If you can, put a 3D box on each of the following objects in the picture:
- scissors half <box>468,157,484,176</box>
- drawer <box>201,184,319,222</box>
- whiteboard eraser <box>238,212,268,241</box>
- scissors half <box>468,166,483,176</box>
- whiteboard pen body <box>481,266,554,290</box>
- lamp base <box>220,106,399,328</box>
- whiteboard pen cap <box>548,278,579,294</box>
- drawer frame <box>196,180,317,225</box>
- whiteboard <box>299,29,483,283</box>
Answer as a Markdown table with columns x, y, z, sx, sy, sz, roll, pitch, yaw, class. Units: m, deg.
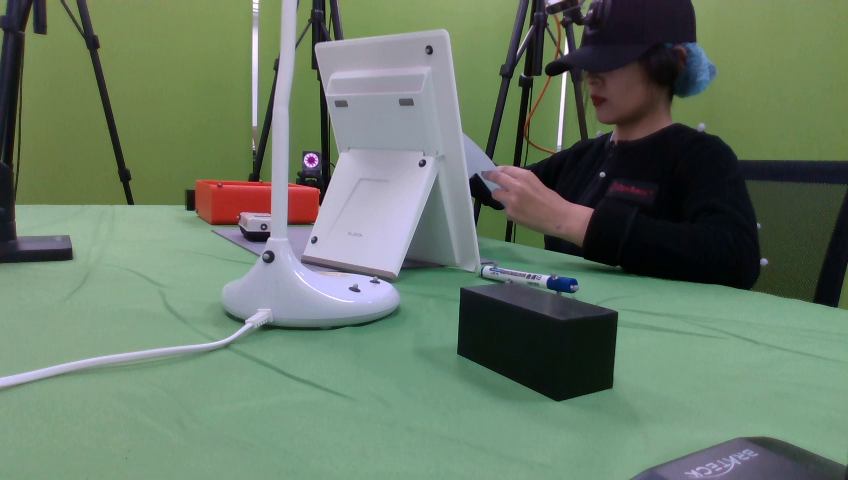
| x | y | z | sx | sy | sz | roll | pitch | yaw | class |
| --- | --- | --- | --- | --- | --- | --- | --- | --- | --- |
| 0.095 | -0.133 | 1.118 | 0.040 | 0.013 | 0.175 | -41 | 7 | 13 | scissors half |
| -0.353 | -0.082 | 1.296 | 0.213 | 0.073 | 0.193 | -2 | 10 | -28 | drawer |
| -0.272 | -0.023 | 0.998 | 0.056 | 0.042 | 0.112 | -2 | 9 | -24 | whiteboard eraser |
| 0.079 | -0.117 | 1.118 | 0.013 | 0.040 | 0.175 | 42 | -14 | -7 | scissors half |
| 0.115 | 0.044 | 0.695 | 0.017 | 0.017 | 0.140 | -3 | 6 | -35 | whiteboard pen body |
| -0.101 | -0.023 | 0.531 | 0.160 | 0.180 | 0.179 | 4 | 10 | 10 | lamp base |
| 0.148 | 0.049 | 0.647 | 0.018 | 0.018 | 0.033 | -3 | 3 | -35 | whiteboard pen cap |
| -0.359 | -0.083 | 1.292 | 0.215 | 0.082 | 0.200 | -2 | 10 | -30 | drawer frame |
| -0.074 | -0.082 | 0.742 | 0.216 | 0.305 | 0.144 | 9 | 29 | 38 | whiteboard |
